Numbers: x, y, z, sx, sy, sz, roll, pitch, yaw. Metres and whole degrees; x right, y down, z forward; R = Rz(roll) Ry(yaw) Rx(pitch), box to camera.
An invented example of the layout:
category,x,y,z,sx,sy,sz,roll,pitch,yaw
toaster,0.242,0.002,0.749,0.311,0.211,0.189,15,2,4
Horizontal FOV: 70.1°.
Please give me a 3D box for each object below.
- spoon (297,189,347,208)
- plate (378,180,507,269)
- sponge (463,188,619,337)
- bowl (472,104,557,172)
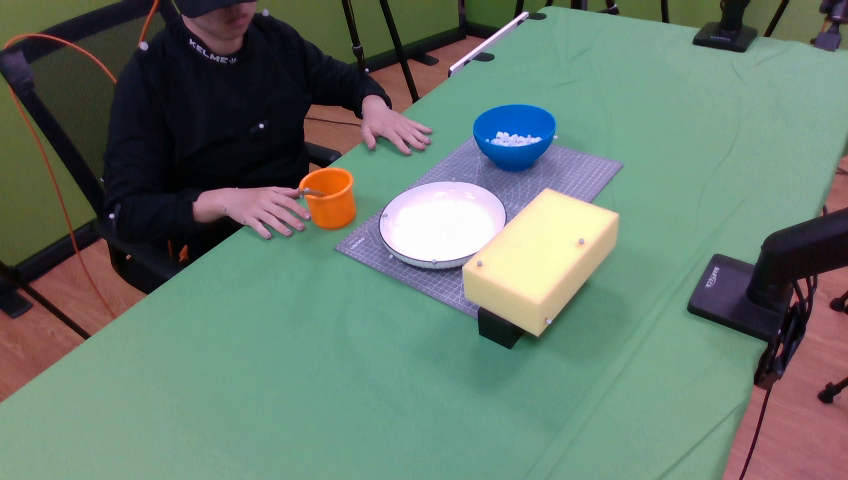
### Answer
category,x,y,z,sx,sy,sz,roll,pitch,yaw
spoon,-0.169,-0.069,0.979,0.041,0.194,0.021,0,85,10
plate,0.031,-0.022,0.974,0.209,0.038,0.208,-4,40,4
sponge,0.160,0.022,0.814,0.117,0.061,0.207,24,50,32
bowl,0.165,-0.178,1.105,0.151,0.077,0.150,-4,40,4
